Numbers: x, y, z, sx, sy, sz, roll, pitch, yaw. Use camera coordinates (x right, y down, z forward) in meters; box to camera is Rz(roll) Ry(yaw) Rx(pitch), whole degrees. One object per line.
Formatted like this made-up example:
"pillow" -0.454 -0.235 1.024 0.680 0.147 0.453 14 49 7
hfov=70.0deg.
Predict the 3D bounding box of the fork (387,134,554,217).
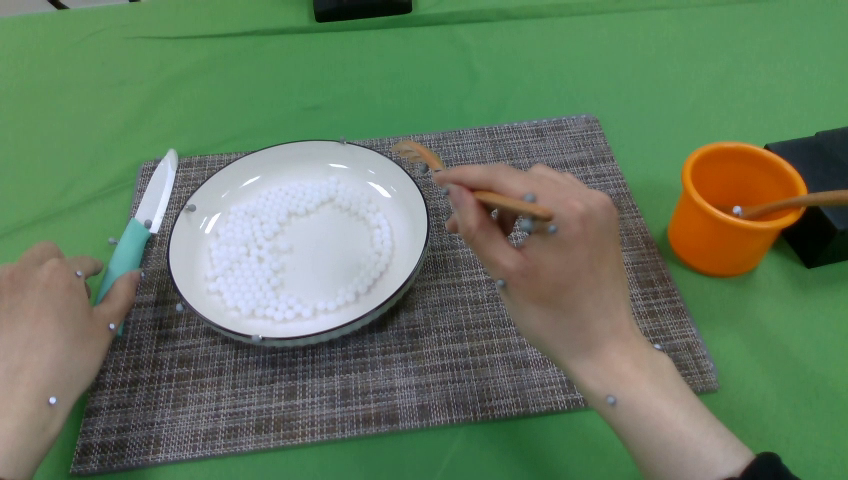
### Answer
"fork" 0.019 -0.043 0.374 0.018 0.028 0.205 -58 29 6

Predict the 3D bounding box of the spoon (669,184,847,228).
"spoon" 0.268 -0.028 0.444 0.041 0.193 0.022 -37 103 -27

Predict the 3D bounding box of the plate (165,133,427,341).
"plate" -0.100 -0.005 0.499 0.209 0.038 0.207 -1 52 1

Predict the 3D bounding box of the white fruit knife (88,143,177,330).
"white fruit knife" -0.247 -0.015 0.525 0.027 0.016 0.205 19 47 -21
